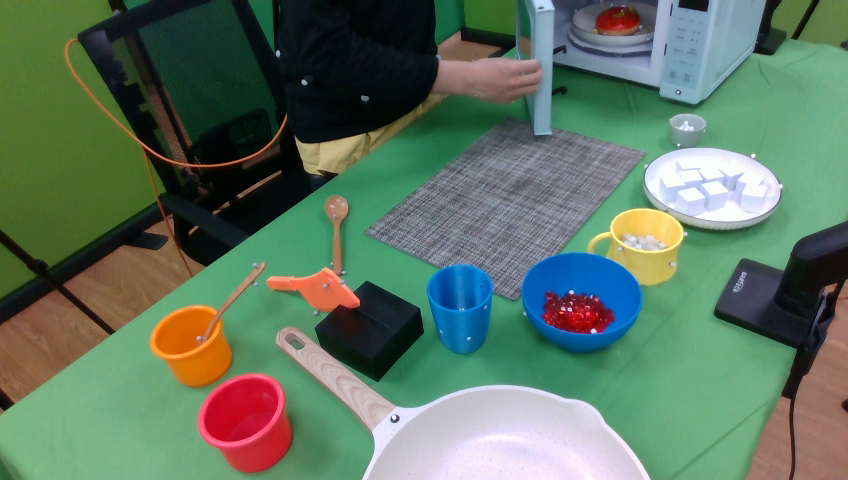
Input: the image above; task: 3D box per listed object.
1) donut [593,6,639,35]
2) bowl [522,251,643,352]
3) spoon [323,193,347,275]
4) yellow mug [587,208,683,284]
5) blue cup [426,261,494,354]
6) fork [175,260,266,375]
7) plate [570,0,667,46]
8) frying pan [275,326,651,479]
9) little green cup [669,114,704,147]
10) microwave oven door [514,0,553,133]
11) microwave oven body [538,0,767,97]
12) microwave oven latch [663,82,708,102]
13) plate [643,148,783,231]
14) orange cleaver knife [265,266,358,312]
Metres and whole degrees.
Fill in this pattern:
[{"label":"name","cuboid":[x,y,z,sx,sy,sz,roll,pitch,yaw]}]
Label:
[{"label":"donut","cuboid":[0.428,-0.490,1.349,0.099,0.048,0.098,-6,40,5]},{"label":"bowl","cuboid":[0.204,0.093,0.792,0.151,0.077,0.150,-4,40,4]},{"label":"spoon","cuboid":[-0.148,-0.014,1.008,0.042,0.022,0.192,1,40,-9]},{"label":"yellow mug","cuboid":[0.305,0.009,0.884,0.131,0.064,0.099,-4,41,5]},{"label":"blue cup","cuboid":[0.050,0.095,0.791,0.092,0.100,0.092,-3,42,3]},{"label":"fork","cuboid":[-0.268,0.102,0.792,0.207,0.019,0.028,-51,41,16]},{"label":"plate","cuboid":[0.436,-0.488,1.368,0.209,0.038,0.208,-4,41,4]},{"label":"frying pan","cuboid":[0.004,0.229,0.641,0.484,0.103,0.308,34,54,28]},{"label":"little green cup","cuboid":[0.485,-0.203,1.122,0.061,0.039,0.061,-5,41,5]},{"label":"microwave oven door","cuboid":[0.218,-0.411,1.220,0.039,0.245,0.354,-5,41,3]},{"label":"microwave oven body","cuboid":[0.473,-0.516,1.313,0.438,0.261,0.327,26,51,34]},{"label":"microwave oven latch","cuboid":[0.518,-0.299,1.202,0.078,0.029,0.030,30,54,36]},{"label":"plate","cuboid":[0.464,-0.080,0.986,0.207,0.039,0.206,-4,41,4]},{"label":"orange cleaver knife","cuboid":[-0.164,0.073,0.864,0.210,0.077,0.012,-6,30,50]}]
